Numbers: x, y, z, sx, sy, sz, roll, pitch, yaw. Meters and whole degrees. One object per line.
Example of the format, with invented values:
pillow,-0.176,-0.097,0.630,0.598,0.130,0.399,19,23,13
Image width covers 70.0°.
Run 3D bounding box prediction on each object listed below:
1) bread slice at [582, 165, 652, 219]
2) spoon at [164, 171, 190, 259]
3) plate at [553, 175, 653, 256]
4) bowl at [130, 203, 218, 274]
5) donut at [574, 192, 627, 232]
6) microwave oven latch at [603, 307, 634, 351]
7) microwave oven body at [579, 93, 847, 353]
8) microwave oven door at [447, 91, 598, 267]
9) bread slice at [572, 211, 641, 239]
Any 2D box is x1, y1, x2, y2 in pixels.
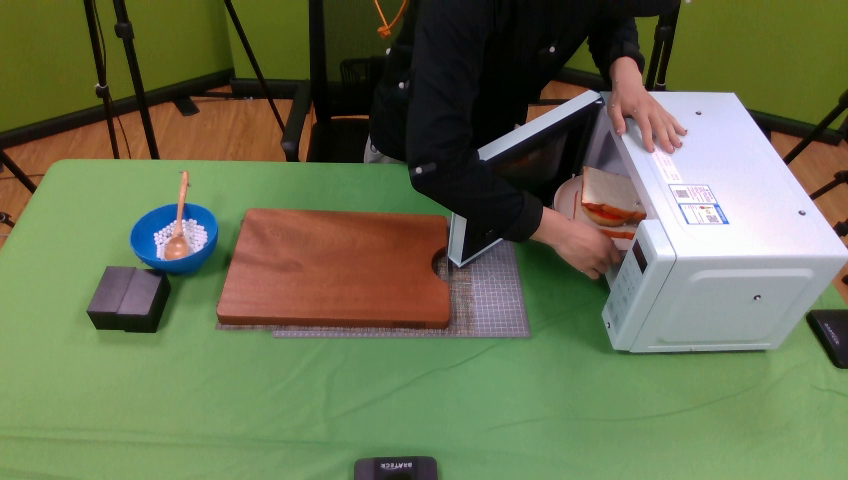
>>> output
bread slice,0.353,-0.085,1.111,0.134,0.018,0.106,13,48,-2
spoon,-0.452,-0.046,1.129,0.041,0.022,0.193,-1,69,-3
plate,0.348,-0.044,1.151,0.208,0.039,0.206,1,48,-1
bowl,-0.451,0.010,1.116,0.151,0.077,0.150,3,45,-3
donut,0.330,-0.058,1.131,0.099,0.048,0.098,0,53,0
microwave oven latch,0.332,0.153,1.044,0.030,0.029,0.078,0,45,-3
microwave oven body,0.475,-0.041,1.109,0.326,0.261,0.438,-1,45,-4
microwave oven door,0.191,-0.120,1.157,0.356,0.245,0.039,-31,55,-30
bread slice,0.365,-0.056,1.164,0.131,0.019,0.104,27,52,18
